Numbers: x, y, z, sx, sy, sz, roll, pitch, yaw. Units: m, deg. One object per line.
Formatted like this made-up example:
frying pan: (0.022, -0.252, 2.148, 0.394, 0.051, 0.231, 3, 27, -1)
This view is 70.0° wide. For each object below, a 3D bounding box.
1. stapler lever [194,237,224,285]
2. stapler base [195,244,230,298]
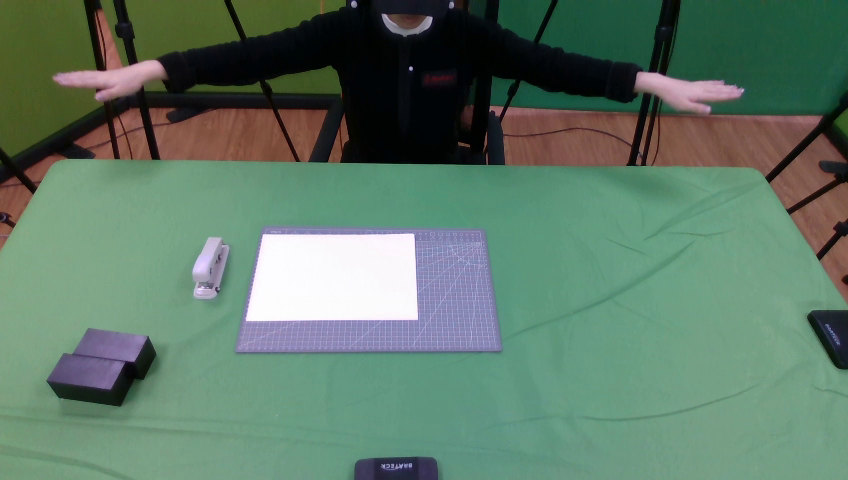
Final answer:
stapler lever: (-0.390, 0.031, 1.101, 0.027, 0.040, 0.117, 2, 44, -5)
stapler base: (-0.391, 0.050, 1.118, 0.041, 0.024, 0.129, 2, 44, -5)
